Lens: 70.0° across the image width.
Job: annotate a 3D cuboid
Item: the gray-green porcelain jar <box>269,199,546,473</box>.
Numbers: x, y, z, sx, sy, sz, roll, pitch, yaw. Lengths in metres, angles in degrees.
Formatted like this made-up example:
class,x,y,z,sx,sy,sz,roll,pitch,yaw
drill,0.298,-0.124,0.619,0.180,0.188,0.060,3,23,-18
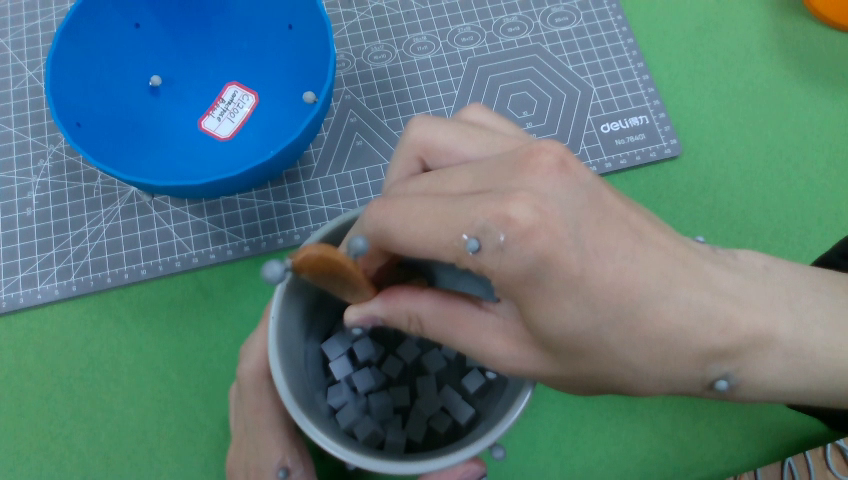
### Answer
class,x,y,z,sx,sy,sz,roll,pitch,yaw
gray-green porcelain jar,-0.006,0.053,0.286,0.106,0.127,0.105,0,71,0

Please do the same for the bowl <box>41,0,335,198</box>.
class,x,y,z,sx,sy,sz,roll,pitch,yaw
bowl,-0.122,-0.083,0.351,0.151,0.077,0.150,0,71,-1
